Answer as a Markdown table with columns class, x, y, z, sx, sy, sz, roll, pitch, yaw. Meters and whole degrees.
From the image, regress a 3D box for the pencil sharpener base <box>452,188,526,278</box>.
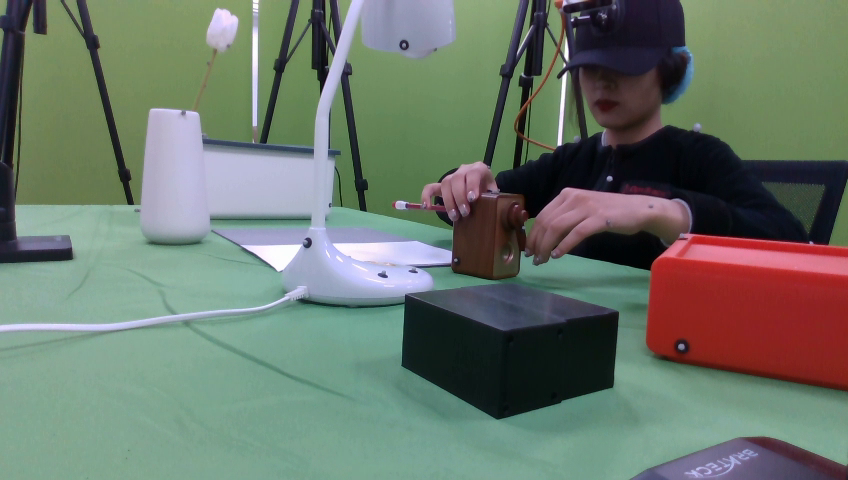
| class | x | y | z | sx | sy | sz | roll | pitch | yaw |
| --- | --- | --- | --- | --- | --- | --- | --- | --- | --- |
| pencil sharpener base | 0.084 | -0.011 | 0.764 | 0.076 | 0.107 | 0.062 | 9 | 10 | 43 |

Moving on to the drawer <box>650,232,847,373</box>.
| class | x | y | z | sx | sy | sz | roll | pitch | yaw |
| --- | --- | --- | --- | --- | --- | --- | --- | --- | --- |
| drawer | 0.303 | 0.044 | 0.499 | 0.194 | 0.073 | 0.212 | 6 | 9 | 27 |

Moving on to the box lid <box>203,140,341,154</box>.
| class | x | y | z | sx | sy | sz | roll | pitch | yaw |
| --- | --- | --- | --- | --- | --- | --- | --- | --- | --- |
| box lid | -0.396 | -0.212 | 1.373 | 0.373 | 0.015 | 0.262 | -1 | 9 | -29 |

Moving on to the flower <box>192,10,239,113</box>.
| class | x | y | z | sx | sy | sz | roll | pitch | yaw |
| --- | --- | --- | --- | --- | --- | --- | --- | --- | --- |
| flower | -0.354 | -0.174 | 0.915 | 0.038 | 0.361 | 0.044 | 18 | -4 | 12 |

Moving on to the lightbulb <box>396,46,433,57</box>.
| class | x | y | z | sx | sy | sz | roll | pitch | yaw |
| --- | --- | --- | --- | --- | --- | --- | --- | --- | --- |
| lightbulb | -0.018 | -0.265 | 0.692 | 0.059 | 0.108 | 0.059 | -10 | 28 | 5 |

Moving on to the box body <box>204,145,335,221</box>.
| class | x | y | z | sx | sy | sz | roll | pitch | yaw |
| --- | --- | --- | --- | --- | --- | --- | --- | --- | --- |
| box body | -0.411 | -0.135 | 1.386 | 0.366 | 0.160 | 0.253 | -2 | 9 | -29 |

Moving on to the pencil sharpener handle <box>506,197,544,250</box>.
| class | x | y | z | sx | sy | sz | roll | pitch | yaw |
| --- | --- | --- | --- | --- | --- | --- | --- | --- | --- |
| pencil sharpener handle | 0.126 | -0.019 | 0.732 | 0.030 | 0.068 | 0.036 | 9 | 34 | 43 |

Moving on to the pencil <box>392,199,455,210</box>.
| class | x | y | z | sx | sy | sz | roll | pitch | yaw |
| --- | --- | --- | --- | --- | --- | --- | --- | --- | --- |
| pencil | 0.025 | -0.046 | 0.817 | 0.193 | 0.012 | 0.012 | 7 | 9 | 44 |

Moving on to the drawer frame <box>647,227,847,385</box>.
| class | x | y | z | sx | sy | sz | roll | pitch | yaw |
| --- | --- | --- | --- | --- | --- | --- | --- | --- | --- |
| drawer frame | 0.303 | 0.043 | 0.495 | 0.201 | 0.082 | 0.214 | 6 | 9 | 26 |

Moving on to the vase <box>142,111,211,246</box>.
| class | x | y | z | sx | sy | sz | roll | pitch | yaw |
| --- | --- | --- | --- | --- | --- | --- | --- | --- | --- |
| vase | -0.378 | -0.093 | 0.920 | 0.098 | 0.200 | 0.098 | 2 | 9 | 0 |

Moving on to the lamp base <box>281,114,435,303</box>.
| class | x | y | z | sx | sy | sz | roll | pitch | yaw |
| --- | --- | --- | --- | --- | --- | --- | --- | --- | --- |
| lamp base | -0.071 | -0.035 | 0.614 | 0.160 | 0.180 | 0.180 | 5 | 10 | 27 |

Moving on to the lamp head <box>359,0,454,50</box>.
| class | x | y | z | sx | sy | sz | roll | pitch | yaw |
| --- | --- | --- | --- | --- | --- | --- | --- | --- | --- |
| lamp head | -0.024 | -0.283 | 0.674 | 0.112 | 0.123 | 0.112 | -3 | 38 | 3 |
